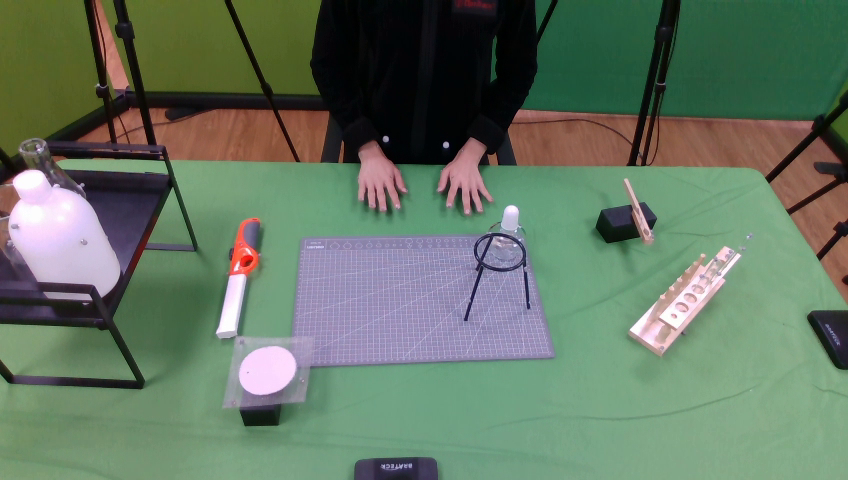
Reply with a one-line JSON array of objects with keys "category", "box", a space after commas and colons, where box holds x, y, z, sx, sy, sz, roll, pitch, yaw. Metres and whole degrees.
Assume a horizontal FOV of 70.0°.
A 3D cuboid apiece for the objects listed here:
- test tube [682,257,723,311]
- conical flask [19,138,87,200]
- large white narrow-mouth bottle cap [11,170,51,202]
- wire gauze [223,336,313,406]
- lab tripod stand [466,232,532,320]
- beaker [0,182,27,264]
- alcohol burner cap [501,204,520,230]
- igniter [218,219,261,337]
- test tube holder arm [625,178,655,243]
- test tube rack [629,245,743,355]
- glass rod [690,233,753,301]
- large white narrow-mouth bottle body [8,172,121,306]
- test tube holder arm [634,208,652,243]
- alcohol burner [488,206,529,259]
[{"category": "test tube", "box": [0.475, 0.080, 1.037, 0.017, 0.151, 0.017, 1, 51, -1]}, {"category": "conical flask", "box": [-0.576, -0.097, 0.930, 0.075, 0.122, 0.075, 2, 46, -2]}, {"category": "large white narrow-mouth bottle cap", "box": [-0.477, -0.066, 0.736, 0.038, 0.024, 0.037, 2, 46, -2]}, {"category": "wire gauze", "box": [-0.237, 0.197, 0.931, 0.121, 0.011, 0.124, 1, 45, -4]}, {"category": "lab tripod stand", "box": [0.125, 0.059, 1.065, 0.148, 0.132, 0.147, 1, 45, 0]}, {"category": "beaker", "box": [-0.582, -0.019, 0.870, 0.074, 0.101, 0.083, 5, 46, 1]}, {"category": "alcohol burner cap", "box": [0.164, -0.046, 1.133, 0.034, 0.048, 0.033, 2, 40, -2]}, {"category": "igniter", "box": [-0.336, 0.060, 1.111, 0.057, 0.025, 0.274, -8, 46, 3]}, {"category": "test tube holder arm", "box": [0.433, -0.062, 1.220, 0.013, 0.015, 0.177, 1, 47, -3]}, {"category": "test tube rack", "box": [0.474, 0.095, 1.091, 0.242, 0.085, 0.066, -34, 56, -31]}, {"category": "glass rod", "box": [0.507, 0.053, 1.041, 0.008, 0.200, 0.008, 5, 51, -6]}, {"category": "large white narrow-mouth bottle body", "box": [-0.479, -0.007, 0.798, 0.102, 0.195, 0.101, 2, 46, -2]}, {"category": "test tube holder arm", "box": [0.428, -0.030, 1.189, 0.010, 0.015, 0.087, 2, 47, -3]}, {"category": "alcohol burner", "box": [0.163, -0.020, 1.158, 0.078, 0.120, 0.077, 0, 47, 0]}]
